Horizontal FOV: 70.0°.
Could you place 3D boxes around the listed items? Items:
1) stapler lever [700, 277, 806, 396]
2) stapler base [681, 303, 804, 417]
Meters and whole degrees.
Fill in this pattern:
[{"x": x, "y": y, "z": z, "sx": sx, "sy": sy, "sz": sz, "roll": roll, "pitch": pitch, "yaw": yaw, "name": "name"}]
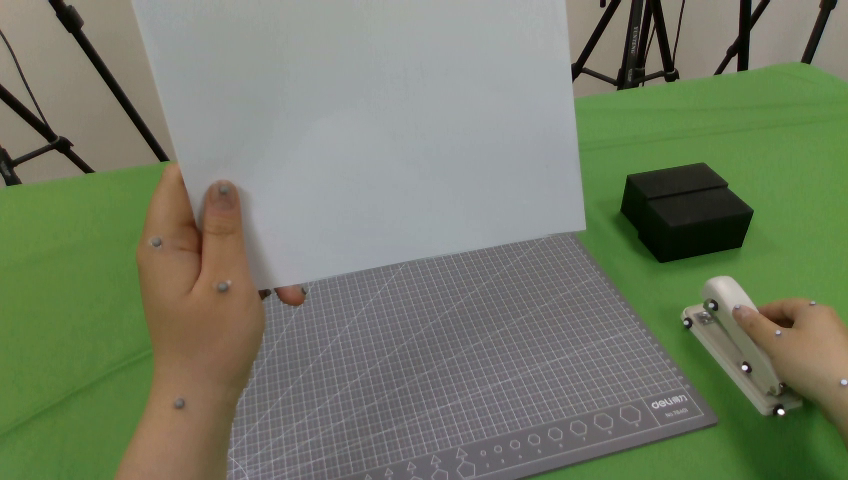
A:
[{"x": 0.286, "y": 0.079, "z": 0.531, "sx": 0.027, "sy": 0.040, "sz": 0.116, "roll": -13, "pitch": 41, "yaw": -10, "name": "stapler lever"}, {"x": 0.286, "y": 0.098, "z": 0.548, "sx": 0.041, "sy": 0.024, "sz": 0.129, "roll": -12, "pitch": 41, "yaw": -10, "name": "stapler base"}]
